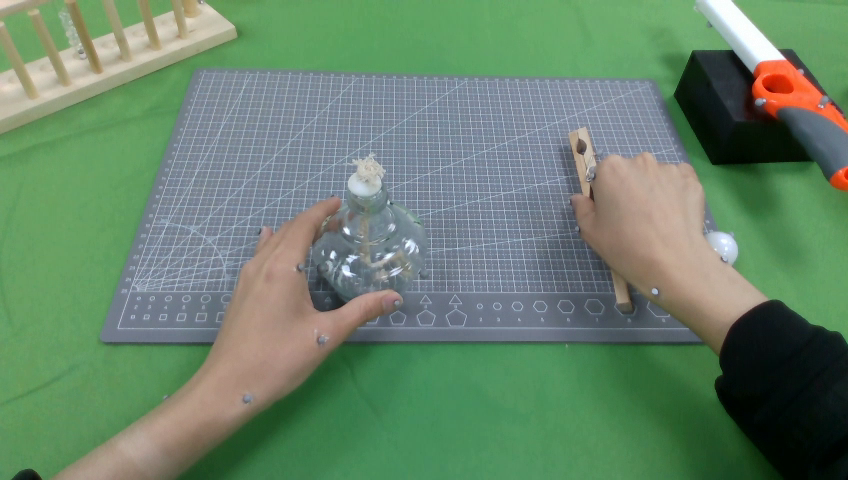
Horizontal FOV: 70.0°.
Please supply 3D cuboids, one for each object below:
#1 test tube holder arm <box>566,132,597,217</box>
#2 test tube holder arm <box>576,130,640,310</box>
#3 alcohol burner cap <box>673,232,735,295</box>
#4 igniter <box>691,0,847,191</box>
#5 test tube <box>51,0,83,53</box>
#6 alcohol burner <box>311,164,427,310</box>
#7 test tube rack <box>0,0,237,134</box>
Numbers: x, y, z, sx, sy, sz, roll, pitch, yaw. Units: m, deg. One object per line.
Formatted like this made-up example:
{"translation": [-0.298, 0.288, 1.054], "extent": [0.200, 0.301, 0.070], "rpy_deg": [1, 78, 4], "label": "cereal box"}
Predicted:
{"translation": [0.134, -0.056, 0.508], "extent": [0.010, 0.015, 0.087], "rpy_deg": [-23, 48, 23], "label": "test tube holder arm"}
{"translation": [0.142, -0.023, 0.479], "extent": [0.013, 0.015, 0.176], "rpy_deg": [-24, 48, 22], "label": "test tube holder arm"}
{"translation": [0.205, 0.014, 0.439], "extent": [0.034, 0.048, 0.033], "rpy_deg": [2, 50, -2], "label": "alcohol burner cap"}
{"translation": [0.300, -0.141, 0.524], "extent": [0.057, 0.025, 0.273], "rpy_deg": [-5, 49, -4], "label": "igniter"}
{"translation": [-0.318, -0.228, 0.513], "extent": [0.017, 0.151, 0.017], "rpy_deg": [3, 48, -3], "label": "test tube"}
{"translation": [-0.037, -0.007, 0.395], "extent": [0.078, 0.120, 0.077], "rpy_deg": [1, 52, -1], "label": "alcohol burner"}
{"translation": [-0.301, -0.191, 0.548], "extent": [0.242, 0.086, 0.066], "rpy_deg": [-34, 61, -27], "label": "test tube rack"}
